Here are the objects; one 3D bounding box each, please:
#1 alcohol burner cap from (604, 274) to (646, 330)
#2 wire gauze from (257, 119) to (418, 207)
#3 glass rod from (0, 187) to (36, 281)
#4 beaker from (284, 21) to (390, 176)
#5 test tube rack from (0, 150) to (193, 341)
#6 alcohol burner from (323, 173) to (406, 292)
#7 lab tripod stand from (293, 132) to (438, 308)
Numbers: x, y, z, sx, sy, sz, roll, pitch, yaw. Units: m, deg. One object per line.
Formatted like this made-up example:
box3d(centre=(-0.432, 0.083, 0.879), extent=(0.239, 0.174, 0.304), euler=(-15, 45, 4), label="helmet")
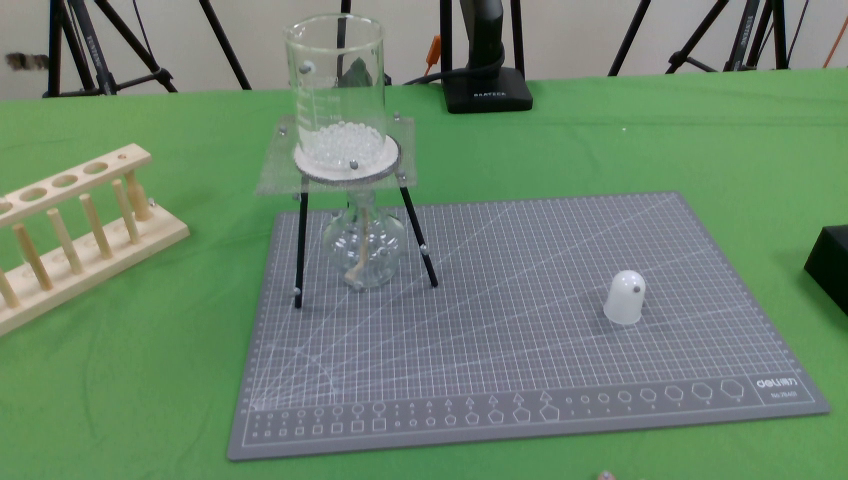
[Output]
box3d(centre=(0.177, 0.051, 0.525), extent=(0.034, 0.048, 0.033), euler=(0, 39, 1), label="alcohol burner cap")
box3d(centre=(-0.066, -0.068, 0.498), extent=(0.121, 0.011, 0.124), euler=(-1, 40, -2), label="wire gauze")
box3d(centre=(-0.369, -0.048, 0.519), extent=(0.008, 0.201, 0.008), euler=(0, 31, 0), label="glass rod")
box3d(centre=(-0.067, -0.108, 0.470), extent=(0.083, 0.101, 0.074), euler=(22, 43, 24), label="beaker")
box3d(centre=(-0.346, 0.010, 0.552), extent=(0.066, 0.086, 0.242), euler=(28, 46, 32), label="test tube rack")
box3d(centre=(-0.054, -0.011, 0.548), extent=(0.078, 0.120, 0.077), euler=(1, 40, 0), label="alcohol burner")
box3d(centre=(-0.058, -0.018, 0.542), extent=(0.148, 0.132, 0.147), euler=(1, 37, 0), label="lab tripod stand")
